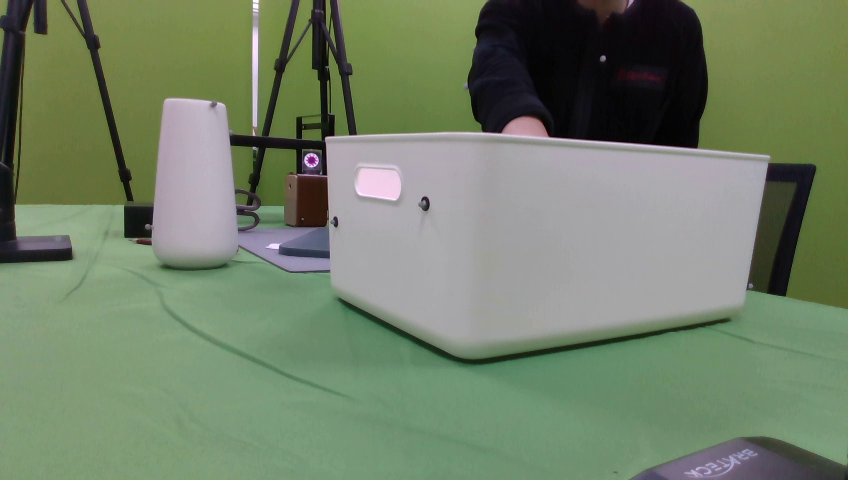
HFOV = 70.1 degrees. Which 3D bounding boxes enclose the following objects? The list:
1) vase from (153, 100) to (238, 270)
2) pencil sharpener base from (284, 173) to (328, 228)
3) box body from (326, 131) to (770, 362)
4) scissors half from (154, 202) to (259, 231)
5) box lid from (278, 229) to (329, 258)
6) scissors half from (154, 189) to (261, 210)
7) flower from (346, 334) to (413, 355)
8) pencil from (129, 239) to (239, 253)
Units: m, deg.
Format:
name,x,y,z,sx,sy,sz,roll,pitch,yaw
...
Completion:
name,x,y,z,sx,sy,sz,roll,pitch,yaw
vase,-0.278,-0.066,0.736,0.098,0.200,0.098,2,8,0
pencil sharpener base,-0.239,-0.081,1.231,0.077,0.107,0.061,-2,8,-36
box body,0.112,-0.010,0.583,0.366,0.160,0.253,-2,9,-32
scissors half,-0.375,-0.046,1.051,0.176,0.040,0.013,13,-2,-28
box lid,-0.019,0.012,0.950,0.371,0.015,0.263,4,7,4
scissors half,-0.373,-0.066,1.049,0.176,0.040,0.012,-6,13,-27
flower,0.101,0.065,0.598,0.362,0.044,0.038,-14,46,-8
pencil,-0.350,0.008,0.874,0.193,0.012,0.012,4,8,18
